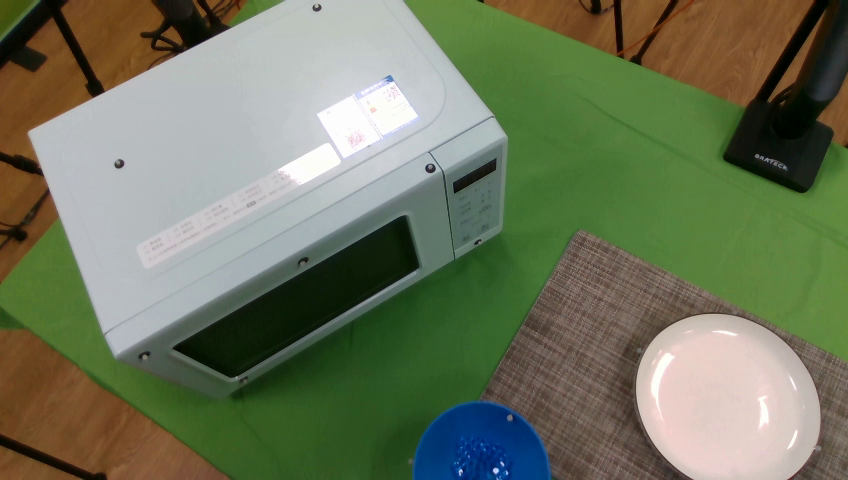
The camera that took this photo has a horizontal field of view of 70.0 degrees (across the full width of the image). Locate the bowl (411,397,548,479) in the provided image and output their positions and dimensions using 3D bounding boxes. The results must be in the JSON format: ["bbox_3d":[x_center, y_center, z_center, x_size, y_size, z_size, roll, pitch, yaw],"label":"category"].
[{"bbox_3d":[0.064,0.262,0.692,0.151,0.077,0.150,-2,67,5],"label":"bowl"}]

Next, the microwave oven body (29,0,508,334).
[{"bbox_3d":[-0.167,-0.078,0.754,0.442,0.262,0.323,-31,68,-7],"label":"microwave oven body"}]

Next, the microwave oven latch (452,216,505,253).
[{"bbox_3d":[0.070,-0.015,0.811,0.079,0.030,0.030,-29,68,-6],"label":"microwave oven latch"}]

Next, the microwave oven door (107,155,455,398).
[{"bbox_3d":[-0.129,0.053,0.689,0.356,0.246,0.039,-31,67,-8],"label":"microwave oven door"}]

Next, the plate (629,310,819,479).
[{"bbox_3d":[0.346,0.187,0.714,0.207,0.039,0.206,-2,67,4],"label":"plate"}]
